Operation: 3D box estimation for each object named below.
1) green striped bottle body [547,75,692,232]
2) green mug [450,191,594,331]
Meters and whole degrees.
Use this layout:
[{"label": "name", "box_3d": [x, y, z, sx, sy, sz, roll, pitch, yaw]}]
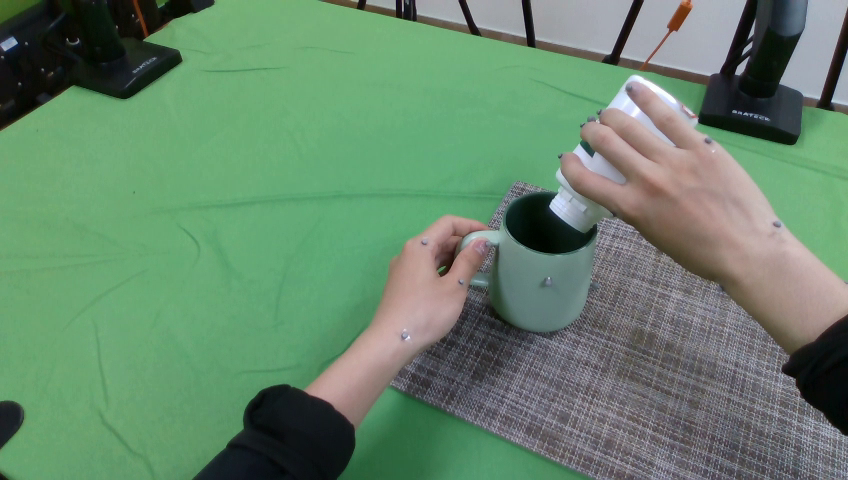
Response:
[{"label": "green striped bottle body", "box_3d": [0.149, -0.064, 0.482, 0.063, 0.119, 0.063, 32, 18, -11]}, {"label": "green mug", "box_3d": [0.086, 0.020, 0.541, 0.125, 0.106, 0.091, 0, 46, 1]}]
